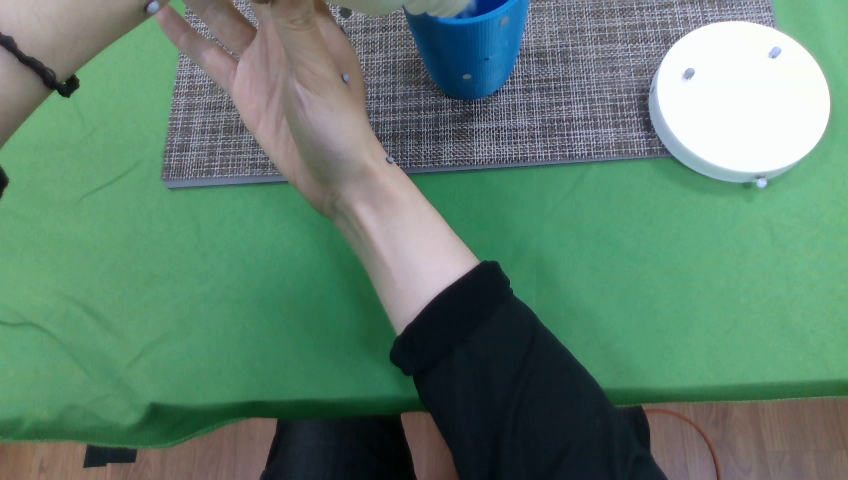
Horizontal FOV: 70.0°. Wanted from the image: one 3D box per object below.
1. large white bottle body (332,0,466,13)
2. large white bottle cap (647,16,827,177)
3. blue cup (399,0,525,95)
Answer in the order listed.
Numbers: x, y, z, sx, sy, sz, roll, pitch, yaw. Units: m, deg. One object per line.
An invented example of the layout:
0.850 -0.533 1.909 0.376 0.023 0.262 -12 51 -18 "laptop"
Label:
-0.057 -0.187 0.283 0.186 0.130 0.130 10 70 -21 "large white bottle body"
0.212 -0.099 0.412 0.115 0.018 0.114 -1 74 2 "large white bottle cap"
0.027 -0.149 0.402 0.092 0.101 0.092 -2 70 7 "blue cup"
